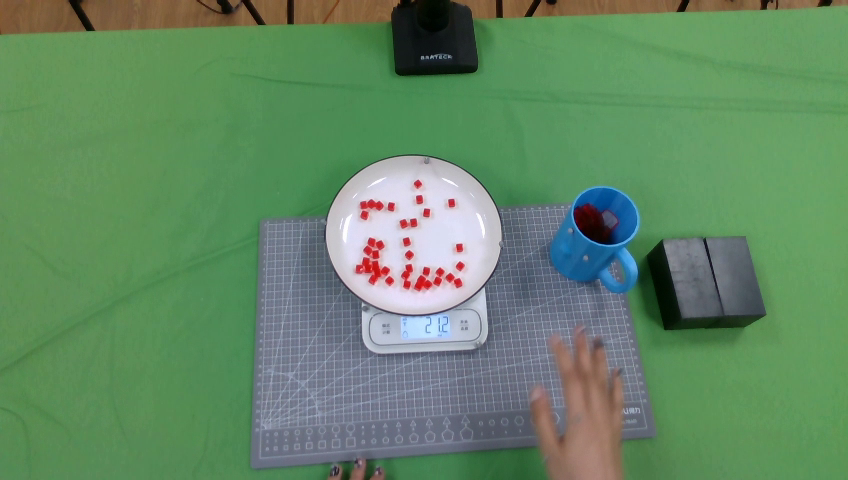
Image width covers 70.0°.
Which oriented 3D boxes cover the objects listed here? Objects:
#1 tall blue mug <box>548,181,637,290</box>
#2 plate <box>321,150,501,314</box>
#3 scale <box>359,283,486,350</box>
[{"bbox_3d":[0.209,-0.001,0.716,0.107,0.108,0.077,33,69,11],"label":"tall blue mug"},{"bbox_3d":[-0.014,-0.008,0.715,0.209,0.038,0.207,1,67,-3],"label":"plate"},{"bbox_3d":[-0.005,0.030,0.736,0.149,0.032,0.199,-2,68,-3],"label":"scale"}]
